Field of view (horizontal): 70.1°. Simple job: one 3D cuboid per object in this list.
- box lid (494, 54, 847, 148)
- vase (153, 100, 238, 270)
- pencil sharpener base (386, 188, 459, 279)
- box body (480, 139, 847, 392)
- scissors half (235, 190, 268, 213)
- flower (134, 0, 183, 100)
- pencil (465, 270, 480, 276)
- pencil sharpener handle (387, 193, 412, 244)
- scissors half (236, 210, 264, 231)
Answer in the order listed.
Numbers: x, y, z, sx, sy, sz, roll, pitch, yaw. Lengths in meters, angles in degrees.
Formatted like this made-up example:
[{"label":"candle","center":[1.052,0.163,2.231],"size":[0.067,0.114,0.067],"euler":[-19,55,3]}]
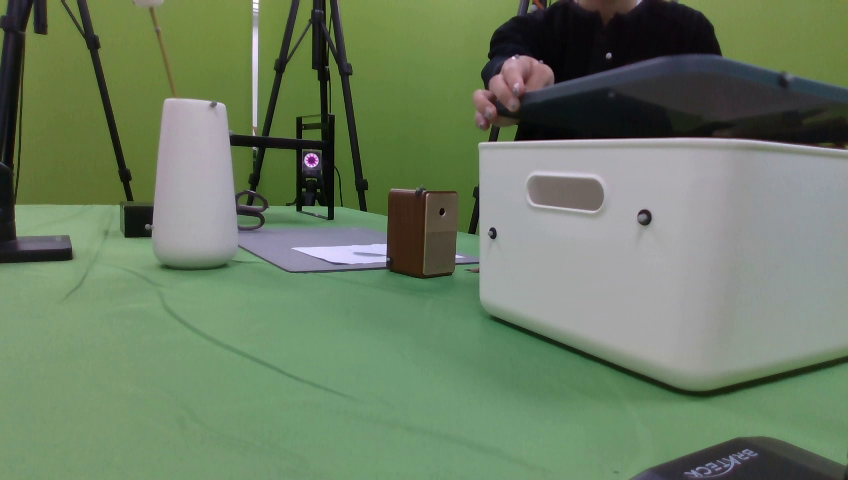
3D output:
[{"label":"box lid","center":[0.278,-0.114,0.578],"size":[0.373,0.015,0.262],"euler":[3,3,-27]},{"label":"vase","center":[-0.278,-0.066,0.736],"size":[0.098,0.200,0.098],"euler":[2,9,0]},{"label":"pencil sharpener base","center":[-0.004,-0.011,0.761],"size":[0.062,0.107,0.076],"euler":[-5,10,-44]},{"label":"box body","center":[0.255,0.001,0.541],"size":[0.366,0.160,0.253],"euler":[-2,9,-31]},{"label":"scissors half","center":[-0.363,-0.070,1.060],"size":[0.176,0.040,0.013],"euler":[0,16,-23]},{"label":"flower","center":[-0.282,-0.147,0.713],"size":[0.038,0.362,0.044],"euler":[-23,24,-31]},{"label":"pencil","center":[0.149,0.041,0.805],"size":[0.194,0.012,0.012],"euler":[-1,8,-10]},{"label":"pencil sharpener handle","center":[-0.038,-0.029,0.797],"size":[0.036,0.068,0.030],"euler":[-14,16,-42]},{"label":"scissors half","center":[-0.369,-0.051,1.065],"size":[0.176,0.040,0.012],"euler":[19,13,-27]}]
